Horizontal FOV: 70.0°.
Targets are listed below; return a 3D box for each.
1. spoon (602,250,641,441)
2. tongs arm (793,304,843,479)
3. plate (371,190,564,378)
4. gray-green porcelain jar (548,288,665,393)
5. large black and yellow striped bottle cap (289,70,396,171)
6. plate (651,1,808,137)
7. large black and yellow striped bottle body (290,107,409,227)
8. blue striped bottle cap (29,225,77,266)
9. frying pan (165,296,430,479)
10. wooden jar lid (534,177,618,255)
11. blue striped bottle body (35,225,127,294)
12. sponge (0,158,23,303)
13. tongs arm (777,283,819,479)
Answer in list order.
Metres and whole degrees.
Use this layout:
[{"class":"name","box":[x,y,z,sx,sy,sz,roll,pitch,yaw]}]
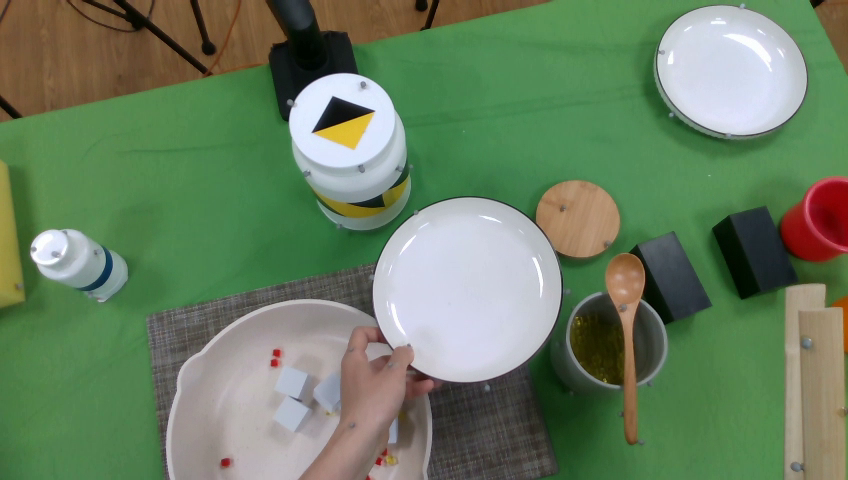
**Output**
[{"class":"spoon","box":[0.206,0.106,0.624,0.042,0.022,0.192,4,76,-5]},{"class":"tongs arm","box":[0.286,0.217,0.446,0.026,0.050,0.386,-8,105,13]},{"class":"plate","box":[0.047,0.047,0.665,0.207,0.039,0.206,-2,73,8]},{"class":"gray-green porcelain jar","box":[0.201,0.119,0.693,0.106,0.127,0.105,0,73,1]},{"class":"large black and yellow striped bottle cap","box":[-0.088,-0.131,0.656,0.115,0.019,0.114,0,74,1]},{"class":"plate","box":[0.418,-0.234,0.843,0.209,0.038,0.208,0,73,1]},{"class":"large black and yellow striped bottle body","box":[-0.087,-0.104,0.736,0.131,0.185,0.130,0,72,1]},{"class":"blue striped bottle cap","box":[-0.421,0.006,0.686,0.044,0.021,0.044,0,74,1]},{"class":"frying pan","box":[-0.186,0.295,0.652,0.306,0.103,0.486,26,67,10]},{"class":"wooden jar lid","box":[0.198,-0.030,0.794,0.108,0.021,0.108,0,75,1]},{"class":"blue striped bottle body","box":[-0.419,0.022,0.734,0.063,0.121,0.062,0,72,1]},{"class":"sponge","box":[-0.605,-0.011,0.778,0.118,0.061,0.205,-18,74,-5]},{"class":"tongs arm","box":[0.290,0.210,0.467,0.028,0.028,0.390,-9,109,10]}]
